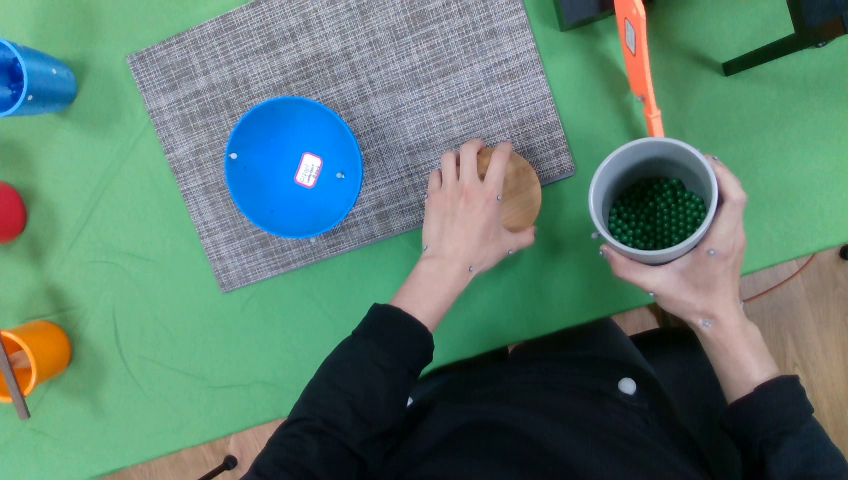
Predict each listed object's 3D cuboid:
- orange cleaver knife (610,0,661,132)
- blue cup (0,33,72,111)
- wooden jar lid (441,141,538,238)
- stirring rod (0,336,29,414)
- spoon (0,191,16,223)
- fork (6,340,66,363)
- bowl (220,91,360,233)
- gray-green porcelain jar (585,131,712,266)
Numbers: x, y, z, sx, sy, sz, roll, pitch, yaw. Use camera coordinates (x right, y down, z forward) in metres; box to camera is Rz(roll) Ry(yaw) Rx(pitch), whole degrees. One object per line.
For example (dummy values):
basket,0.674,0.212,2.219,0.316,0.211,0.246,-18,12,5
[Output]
orange cleaver knife,0.217,-0.171,0.619,0.012,0.076,0.213,-23,126,6
blue cup,-0.457,-0.186,0.683,0.092,0.100,0.093,1,100,4
wooden jar lid,0.074,-0.057,0.678,0.108,0.020,0.109,3,105,13
stirring rod,-0.505,0.125,0.718,0.014,0.006,0.176,-14,99,6
spoon,-0.590,-0.025,0.706,0.194,0.021,0.042,-15,99,-35
fork,-0.552,0.149,0.729,0.208,0.018,0.028,-7,111,-37
bowl,-0.138,-0.086,0.673,0.151,0.076,0.152,1,100,6
gray-green porcelain jar,0.216,-0.032,0.575,0.105,0.127,0.105,-5,78,23
